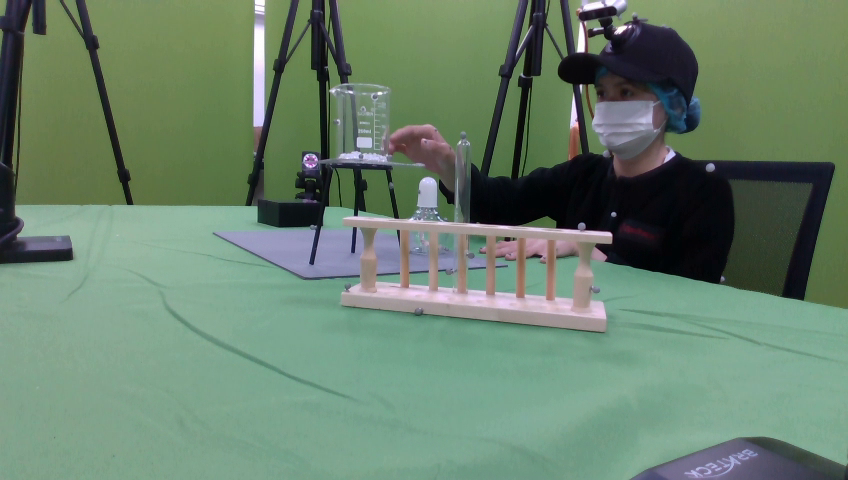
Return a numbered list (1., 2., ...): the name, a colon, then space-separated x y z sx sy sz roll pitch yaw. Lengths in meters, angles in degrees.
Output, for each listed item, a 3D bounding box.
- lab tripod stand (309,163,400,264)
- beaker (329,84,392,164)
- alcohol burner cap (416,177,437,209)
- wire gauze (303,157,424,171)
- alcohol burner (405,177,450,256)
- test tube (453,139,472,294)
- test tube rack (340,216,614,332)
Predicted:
1. lab tripod stand: -0.091 -0.037 0.813 0.148 0.131 0.148 1 6 0
2. beaker: -0.084 -0.149 0.794 0.084 0.100 0.073 -1 6 -23
3. alcohol burner cap: 0.005 -0.072 0.914 0.034 0.048 0.034 4 10 0
4. wire gauze: -0.082 -0.101 0.799 0.126 0.011 0.121 1 7 -30
5. alcohol burner: 0.004 -0.036 0.917 0.078 0.119 0.078 3 5 0
6. test tube: 0.037 -0.021 0.584 0.017 0.150 0.017 1 7 0
7. test tube rack: 0.048 0.026 0.568 0.242 0.085 0.067 4 7 13
